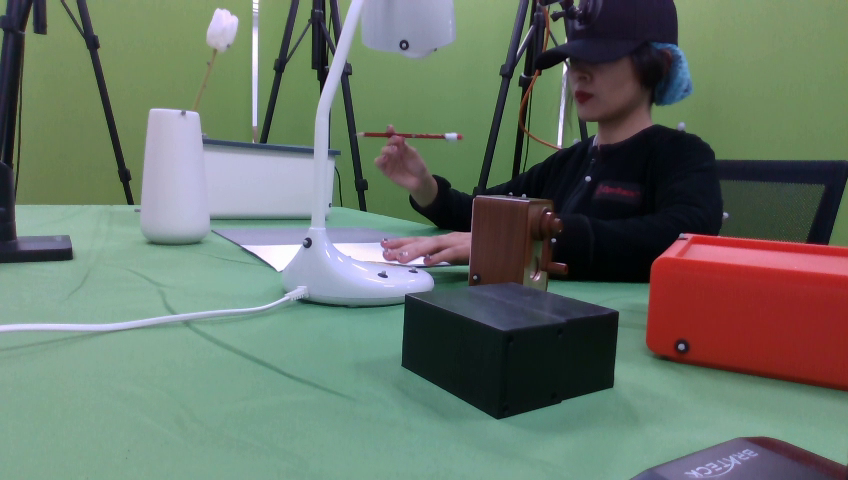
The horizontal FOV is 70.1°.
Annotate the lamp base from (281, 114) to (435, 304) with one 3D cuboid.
[{"bbox_3d":[-0.071,-0.035,0.614,0.160,0.180,0.180,6,10,27],"label":"lamp base"}]

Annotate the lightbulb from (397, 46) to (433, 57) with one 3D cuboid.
[{"bbox_3d":[-0.017,-0.265,0.692,0.059,0.108,0.059,-9,28,5],"label":"lightbulb"}]

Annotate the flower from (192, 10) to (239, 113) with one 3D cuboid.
[{"bbox_3d":[-0.354,-0.174,0.915,0.038,0.361,0.044,18,-3,12],"label":"flower"}]

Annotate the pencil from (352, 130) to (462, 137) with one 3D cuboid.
[{"bbox_3d":[-0.030,-0.188,1.068,0.194,0.012,0.012,0,7,3],"label":"pencil"}]

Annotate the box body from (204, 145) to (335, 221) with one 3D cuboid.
[{"bbox_3d":[-0.411,-0.135,1.386,0.366,0.160,0.253,-2,9,-29],"label":"box body"}]

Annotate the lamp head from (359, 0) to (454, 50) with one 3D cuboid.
[{"bbox_3d":[-0.024,-0.283,0.674,0.112,0.123,0.112,-3,38,3],"label":"lamp head"}]

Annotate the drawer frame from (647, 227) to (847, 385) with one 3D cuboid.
[{"bbox_3d":[0.303,0.043,0.495,0.201,0.082,0.214,6,9,26],"label":"drawer frame"}]

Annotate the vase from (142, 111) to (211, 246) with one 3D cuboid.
[{"bbox_3d":[-0.378,-0.093,0.920,0.098,0.200,0.098,2,9,0],"label":"vase"}]

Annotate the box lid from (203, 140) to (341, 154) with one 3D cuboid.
[{"bbox_3d":[-0.396,-0.212,1.373,0.373,0.015,0.262,-1,9,-29],"label":"box lid"}]

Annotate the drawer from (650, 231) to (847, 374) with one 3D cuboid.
[{"bbox_3d":[0.303,0.044,0.499,0.194,0.073,0.212,7,10,27],"label":"drawer"}]

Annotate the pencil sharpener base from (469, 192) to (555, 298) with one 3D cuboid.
[{"bbox_3d":[0.097,0.003,0.652,0.076,0.107,0.061,8,9,38],"label":"pencil sharpener base"}]

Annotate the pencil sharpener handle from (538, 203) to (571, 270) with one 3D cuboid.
[{"bbox_3d":[0.137,-0.003,0.619,0.030,0.067,0.036,8,6,38],"label":"pencil sharpener handle"}]
